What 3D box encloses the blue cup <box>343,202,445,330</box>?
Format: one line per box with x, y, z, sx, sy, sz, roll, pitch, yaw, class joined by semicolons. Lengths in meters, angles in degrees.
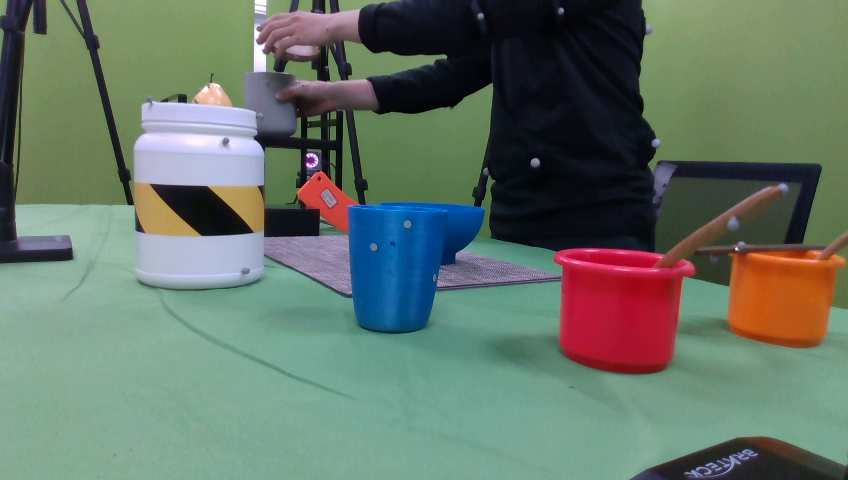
-0.027;0.021;0.510;0.093;0.100;0.092;3;5;0;blue cup

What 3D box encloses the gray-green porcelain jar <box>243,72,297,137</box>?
-0.320;-0.280;1.263;0.106;0.126;0.106;0;9;0;gray-green porcelain jar

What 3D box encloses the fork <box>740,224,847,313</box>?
0.323;0.013;0.485;0.028;0.018;0.207;9;-38;-5;fork

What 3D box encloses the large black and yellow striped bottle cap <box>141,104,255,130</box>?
-0.241;-0.131;0.650;0.115;0.019;0.115;3;8;0;large black and yellow striped bottle cap

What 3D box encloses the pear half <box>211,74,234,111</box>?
-0.401;-0.261;1.162;0.076;0.109;0.056;7;7;1;pear half

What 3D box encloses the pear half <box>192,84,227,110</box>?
-0.405;-0.248;1.129;0.070;0.088;0.031;6;7;1;pear half

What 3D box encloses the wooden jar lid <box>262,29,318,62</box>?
-0.261;-0.377;1.176;0.109;0.020;0.108;17;37;-13;wooden jar lid

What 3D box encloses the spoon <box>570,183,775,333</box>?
0.160;0.020;0.413;0.042;0.021;0.193;0;-36;-24;spoon

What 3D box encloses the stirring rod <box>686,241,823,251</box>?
0.290;0.005;0.525;0.177;0.006;0.014;-1;5;-26;stirring rod

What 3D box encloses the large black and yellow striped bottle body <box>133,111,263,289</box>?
-0.243;-0.047;0.659;0.131;0.184;0.130;2;7;0;large black and yellow striped bottle body

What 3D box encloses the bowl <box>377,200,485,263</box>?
0.008;-0.012;0.842;0.151;0.077;0.151;3;7;0;bowl

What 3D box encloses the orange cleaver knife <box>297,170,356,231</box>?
-0.150;-0.058;1.170;0.212;0.077;0.012;33;-15;-32;orange cleaver knife
